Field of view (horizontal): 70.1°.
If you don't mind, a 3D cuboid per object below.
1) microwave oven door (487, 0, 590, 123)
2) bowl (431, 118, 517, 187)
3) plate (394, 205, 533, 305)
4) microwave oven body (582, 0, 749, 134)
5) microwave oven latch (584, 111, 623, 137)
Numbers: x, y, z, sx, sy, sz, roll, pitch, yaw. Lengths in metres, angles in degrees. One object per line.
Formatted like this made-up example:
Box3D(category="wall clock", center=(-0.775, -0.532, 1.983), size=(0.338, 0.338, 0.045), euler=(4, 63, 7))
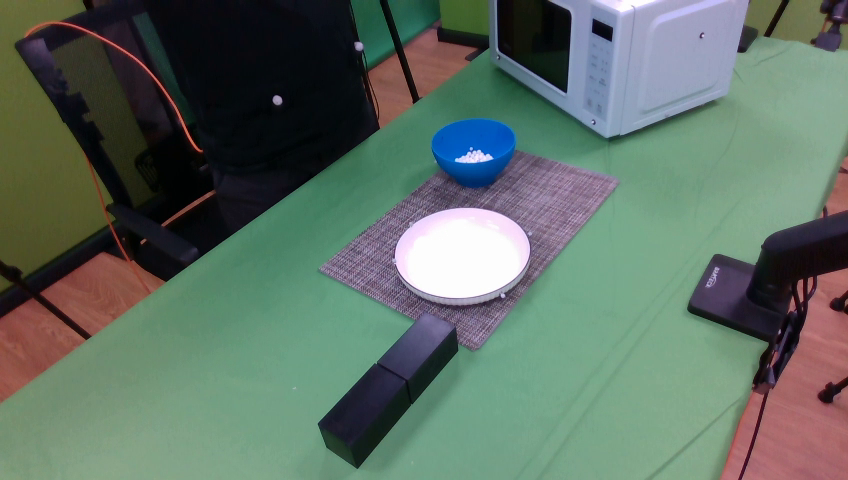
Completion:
Box3D(category="microwave oven door", center=(0.232, -0.420, 1.230), size=(0.039, 0.245, 0.352), euler=(-22, 43, -16))
Box3D(category="bowl", center=(0.090, -0.147, 1.080), size=(0.151, 0.077, 0.150), euler=(-4, 40, 4))
Box3D(category="plate", center=(0.059, 0.025, 0.915), size=(0.207, 0.039, 0.206), euler=(-4, 41, 4))
Box3D(category="microwave oven body", center=(0.382, -0.444, 1.246), size=(0.327, 0.261, 0.437), euler=(-22, 42, -16))
Box3D(category="microwave oven latch", center=(0.337, -0.222, 1.142), size=(0.030, 0.029, 0.078), euler=(-21, 42, -14))
